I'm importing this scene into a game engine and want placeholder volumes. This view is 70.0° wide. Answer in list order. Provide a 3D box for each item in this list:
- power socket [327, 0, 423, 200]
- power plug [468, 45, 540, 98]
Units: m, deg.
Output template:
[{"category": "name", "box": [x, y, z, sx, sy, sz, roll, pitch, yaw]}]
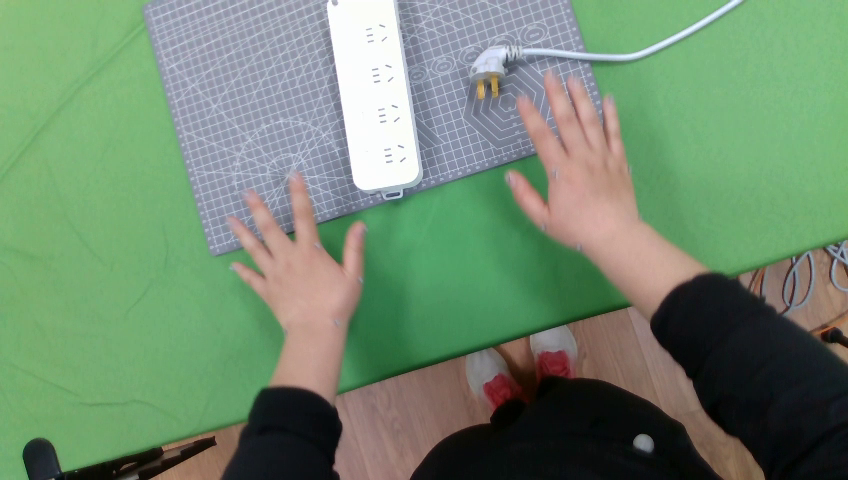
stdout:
[{"category": "power socket", "box": [-0.051, -0.156, 0.636, 0.072, 0.032, 0.226, -9, 87, 7]}, {"category": "power plug", "box": [0.080, -0.172, 0.614, 0.072, 0.035, 0.052, -4, 85, 18]}]
